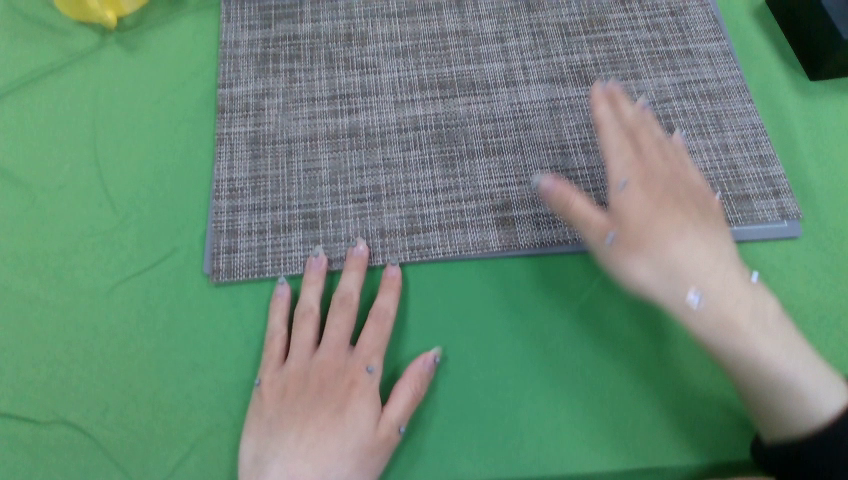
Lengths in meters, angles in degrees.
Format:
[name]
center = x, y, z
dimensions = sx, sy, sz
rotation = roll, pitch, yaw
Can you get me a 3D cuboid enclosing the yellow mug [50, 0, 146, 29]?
[yellow mug]
center = -0.300, -0.246, 0.543
dimensions = 0.100, 0.064, 0.129
rotation = -17, 66, -9
